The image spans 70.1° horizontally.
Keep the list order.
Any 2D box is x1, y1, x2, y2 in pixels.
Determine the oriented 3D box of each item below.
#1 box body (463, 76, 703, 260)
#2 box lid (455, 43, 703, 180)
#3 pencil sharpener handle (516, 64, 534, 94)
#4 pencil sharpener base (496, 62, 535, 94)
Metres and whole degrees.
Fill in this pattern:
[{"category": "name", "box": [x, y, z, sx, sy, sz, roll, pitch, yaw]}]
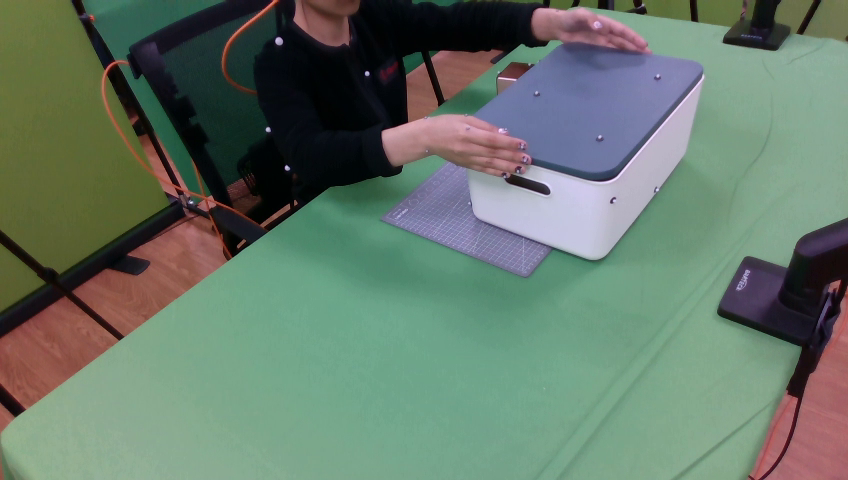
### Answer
[{"category": "box body", "box": [0.264, -0.153, 1.000, 0.252, 0.161, 0.365, 22, 49, 32]}, {"category": "box lid", "box": [0.250, -0.218, 0.949, 0.261, 0.015, 0.372, 22, 49, 32]}, {"category": "pencil sharpener handle", "box": [0.214, -0.337, 1.249, 0.036, 0.068, 0.031, 12, 44, 28]}, {"category": "pencil sharpener base", "box": [0.190, -0.296, 1.225, 0.061, 0.107, 0.077, 14, 45, 27]}]
